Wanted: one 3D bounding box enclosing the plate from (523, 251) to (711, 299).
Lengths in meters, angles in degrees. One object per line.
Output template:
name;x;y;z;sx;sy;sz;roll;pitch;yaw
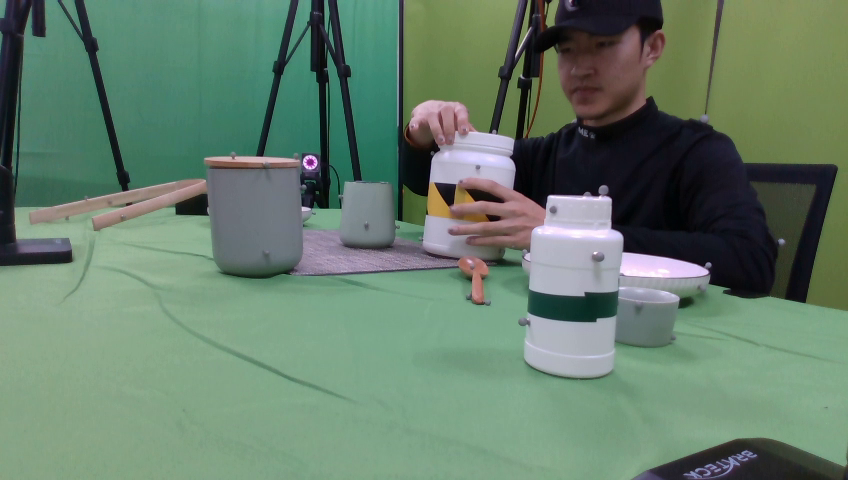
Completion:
plate;0.219;0.041;0.706;0.209;0.038;0.209;2;7;0

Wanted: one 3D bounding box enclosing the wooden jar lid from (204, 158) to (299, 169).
wooden jar lid;-0.203;-0.086;0.714;0.108;0.020;0.108;3;11;0

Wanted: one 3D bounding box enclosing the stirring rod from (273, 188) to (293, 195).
stirring rod;-0.353;-0.122;1.518;0.006;0.014;0.176;2;6;2

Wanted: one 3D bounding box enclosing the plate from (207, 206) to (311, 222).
plate;-0.342;-0.050;1.259;0.208;0.039;0.207;3;7;0

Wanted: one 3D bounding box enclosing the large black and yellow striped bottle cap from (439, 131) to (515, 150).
large black and yellow striped bottle cap;0.080;-0.150;0.913;0.115;0.019;0.115;5;4;0

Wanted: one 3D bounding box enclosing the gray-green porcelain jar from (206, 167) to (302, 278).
gray-green porcelain jar;-0.201;-0.024;0.724;0.106;0.126;0.106;-1;9;1

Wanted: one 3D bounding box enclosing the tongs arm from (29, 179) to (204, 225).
tongs arm;-0.609;-0.083;1.245;0.050;0.026;0.386;4;16;23

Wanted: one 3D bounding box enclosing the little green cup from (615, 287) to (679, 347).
little green cup;0.180;0.064;0.506;0.061;0.038;0.061;1;8;0

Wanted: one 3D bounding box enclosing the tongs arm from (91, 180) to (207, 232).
tongs arm;-0.534;-0.077;1.221;0.028;0.028;0.388;-2;15;12

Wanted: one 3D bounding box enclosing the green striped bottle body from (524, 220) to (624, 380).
green striped bottle body;0.104;0.031;0.422;0.063;0.119;0.063;2;8;0

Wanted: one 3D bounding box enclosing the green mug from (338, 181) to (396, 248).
green mug;-0.097;-0.044;0.995;0.093;0.105;0.125;-1;8;-21

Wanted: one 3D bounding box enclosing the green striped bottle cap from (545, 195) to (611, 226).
green striped bottle cap;0.105;-0.020;0.415;0.044;0.020;0.044;2;4;0

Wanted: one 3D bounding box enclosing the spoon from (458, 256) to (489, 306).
spoon;0.059;0.044;0.695;0.041;0.021;0.194;17;7;1

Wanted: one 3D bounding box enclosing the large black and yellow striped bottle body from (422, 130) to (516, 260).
large black and yellow striped bottle body;0.070;-0.068;0.922;0.131;0.184;0.130;6;5;0
